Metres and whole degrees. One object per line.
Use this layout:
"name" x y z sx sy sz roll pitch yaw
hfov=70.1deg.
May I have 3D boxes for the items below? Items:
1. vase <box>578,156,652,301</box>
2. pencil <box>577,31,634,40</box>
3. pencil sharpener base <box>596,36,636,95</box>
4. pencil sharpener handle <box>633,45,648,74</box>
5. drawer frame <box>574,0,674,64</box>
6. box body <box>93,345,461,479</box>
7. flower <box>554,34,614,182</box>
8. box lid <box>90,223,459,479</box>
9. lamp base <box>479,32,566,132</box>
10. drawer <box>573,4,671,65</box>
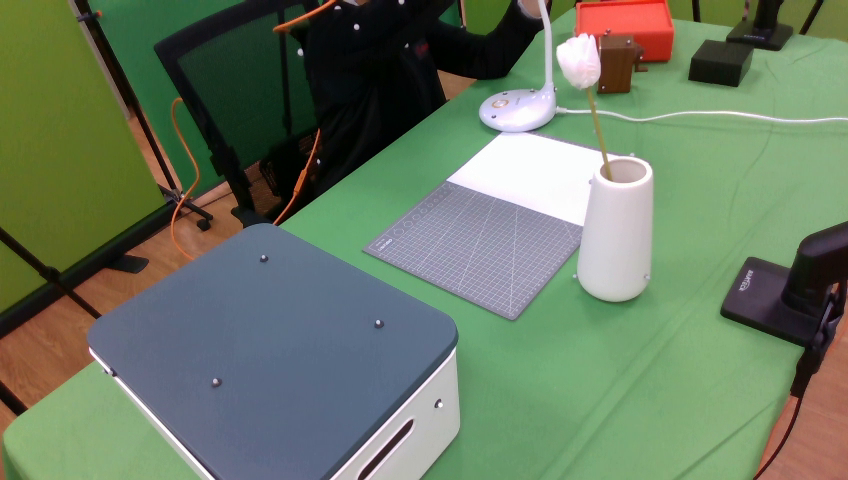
"vase" 0.261 -0.011 0.812 0.098 0.201 0.097 -4 40 4
"pencil" 0.430 -0.488 1.443 0.012 0.012 0.192 -25 30 -18
"pencil sharpener base" 0.406 -0.369 1.280 0.076 0.107 0.061 1 41 13
"pencil sharpener handle" 0.454 -0.378 1.262 0.030 0.068 0.036 1 47 13
"drawer frame" 0.464 -0.492 1.434 0.213 0.083 0.201 1 40 12
"box body" -0.162 0.170 0.708 0.361 0.161 0.255 25 50 34
"flower" 0.237 -0.083 0.774 0.044 0.363 0.038 -22 26 6
"box lid" -0.174 0.102 0.666 0.368 0.015 0.264 24 48 35
"lamp base" 0.200 -0.332 1.219 0.179 0.181 0.160 1 40 7
"drawer" 0.461 -0.491 1.434 0.211 0.073 0.194 2 41 12
